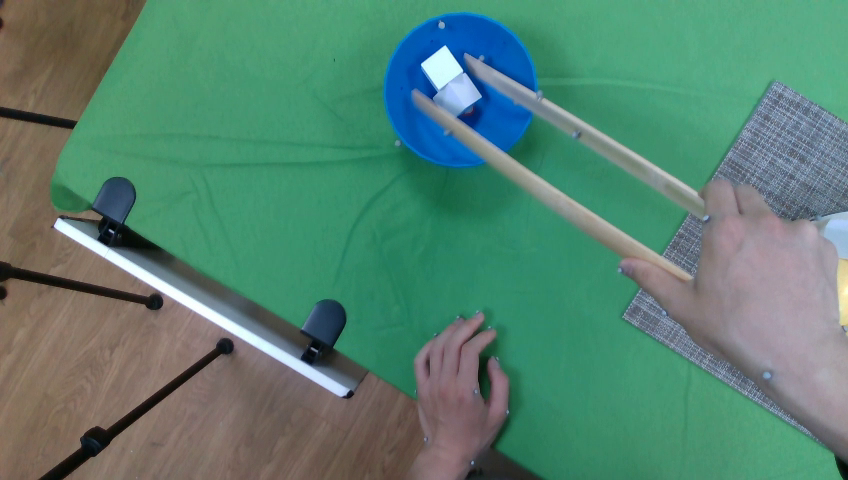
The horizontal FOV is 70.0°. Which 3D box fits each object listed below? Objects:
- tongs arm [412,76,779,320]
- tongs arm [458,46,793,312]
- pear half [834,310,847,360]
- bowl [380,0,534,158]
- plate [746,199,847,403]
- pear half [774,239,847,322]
[{"bbox_3d":[0.102,-0.055,0.497,0.028,0.028,0.383,-34,50,-16],"label":"tongs arm"},{"bbox_3d":[0.132,-0.076,0.504,0.051,0.027,0.380,-37,51,-13],"label":"tongs arm"},{"bbox_3d":[0.472,0.094,0.619,0.088,0.031,0.070,-26,93,8],"label":"pear half"},{"bbox_3d":[0.033,-0.154,0.620,0.151,0.077,0.151,0,91,2],"label":"bowl"},{"bbox_3d":[0.435,0.061,0.625,0.207,0.039,0.207,0,91,3],"label":"plate"},{"bbox_3d":[0.417,0.031,0.612,0.076,0.056,0.110,42,89,-3],"label":"pear half"}]
